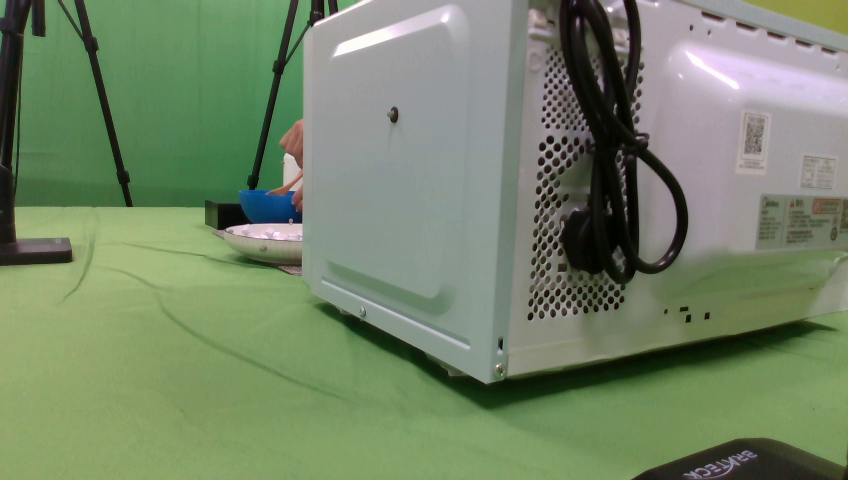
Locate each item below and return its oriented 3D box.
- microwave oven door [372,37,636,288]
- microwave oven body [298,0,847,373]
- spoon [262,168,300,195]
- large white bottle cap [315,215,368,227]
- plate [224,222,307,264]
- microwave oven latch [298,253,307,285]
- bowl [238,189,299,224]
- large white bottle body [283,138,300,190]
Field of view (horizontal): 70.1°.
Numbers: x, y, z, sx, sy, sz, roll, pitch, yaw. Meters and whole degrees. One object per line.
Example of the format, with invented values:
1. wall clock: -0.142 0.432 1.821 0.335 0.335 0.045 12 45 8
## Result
1. microwave oven door: 0.110 -0.080 0.686 0.358 0.243 0.039 -2 9 -33
2. microwave oven body: 0.151 -0.055 0.542 0.444 0.260 0.324 -2 7 -33
3. spoon: -0.240 -0.112 1.102 0.021 0.042 0.194 5 43 34
4. large white bottle cap: -0.178 -0.041 1.309 0.115 0.018 0.115 2 6 0
5. plate: -0.171 0.004 0.849 0.209 0.038 0.209 2 7 0
6. microwave oven latch: -0.081 0.027 0.582 0.079 0.029 0.030 -1 7 -32
7. bowl: -0.245 -0.045 1.053 0.151 0.077 0.151 3 8 0
8. large white bottle body: -0.265 -0.144 1.424 0.131 0.184 0.130 2 7 0
